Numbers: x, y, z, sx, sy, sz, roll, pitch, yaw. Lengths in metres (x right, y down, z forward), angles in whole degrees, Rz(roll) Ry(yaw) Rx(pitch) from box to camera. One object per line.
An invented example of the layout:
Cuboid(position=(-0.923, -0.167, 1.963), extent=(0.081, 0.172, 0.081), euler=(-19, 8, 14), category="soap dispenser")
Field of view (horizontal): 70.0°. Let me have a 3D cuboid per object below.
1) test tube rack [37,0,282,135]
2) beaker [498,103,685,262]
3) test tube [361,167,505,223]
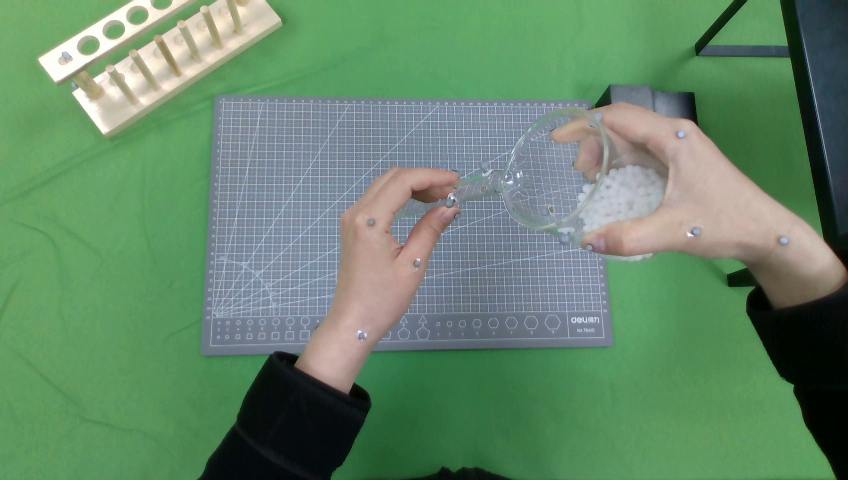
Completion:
Cuboid(position=(-0.283, -0.225, 0.675), extent=(0.242, 0.085, 0.066), euler=(-38, 82, -12), category="test tube rack")
Cuboid(position=(0.106, -0.030, 0.379), extent=(0.101, 0.083, 0.073), euler=(19, 73, -37), category="beaker")
Cuboid(position=(-0.001, -0.029, 0.436), extent=(0.017, 0.149, 0.017), euler=(7, 78, -39), category="test tube")
